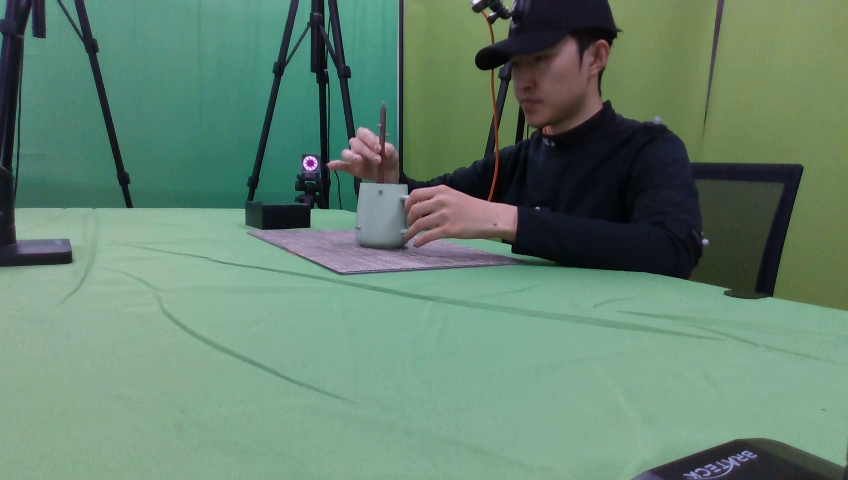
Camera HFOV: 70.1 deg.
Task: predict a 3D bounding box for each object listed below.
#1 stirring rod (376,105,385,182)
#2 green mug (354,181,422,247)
[{"bbox_3d":[-0.072,-0.134,1.002,0.006,0.176,0.014,-3,9,-37],"label":"stirring rod"},{"bbox_3d":[-0.055,-0.042,0.988,0.125,0.105,0.093,7,8,36],"label":"green mug"}]
